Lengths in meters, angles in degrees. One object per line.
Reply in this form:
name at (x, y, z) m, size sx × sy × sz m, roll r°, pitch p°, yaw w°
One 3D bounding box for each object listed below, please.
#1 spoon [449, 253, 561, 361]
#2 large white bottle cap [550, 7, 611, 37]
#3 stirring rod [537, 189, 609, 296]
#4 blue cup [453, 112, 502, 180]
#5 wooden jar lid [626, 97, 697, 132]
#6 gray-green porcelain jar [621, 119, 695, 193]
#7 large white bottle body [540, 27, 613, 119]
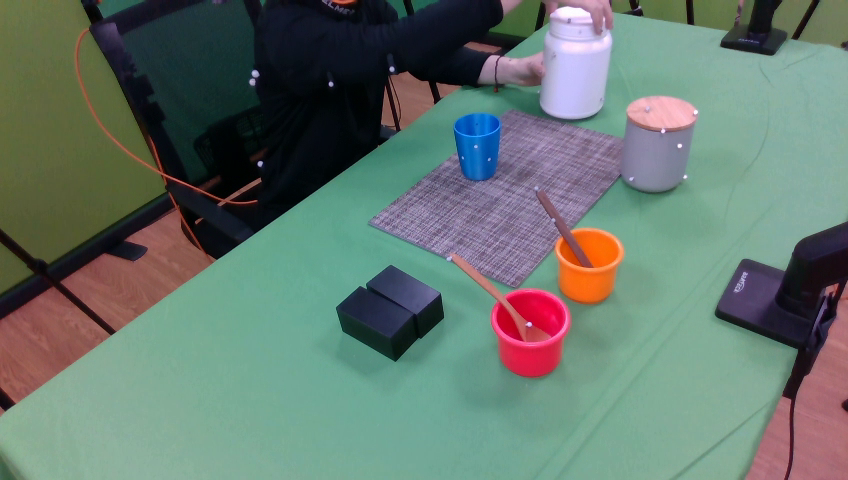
spoon at (0.103, 0.083, 0.770) m, size 0.194 × 0.021 × 0.042 m, roll 47°, pitch 53°, yaw -7°
large white bottle cap at (0.297, -0.415, 1.149) m, size 0.115 × 0.018 × 0.114 m, roll -2°, pitch 40°, yaw 2°
stirring rod at (0.210, 0.003, 0.855) m, size 0.014 × 0.006 × 0.176 m, roll -32°, pitch 88°, yaw -30°
blue cup at (0.097, -0.166, 1.088) m, size 0.092 × 0.100 × 0.092 m, roll -3°, pitch 41°, yaw 3°
wooden jar lid at (0.382, -0.198, 0.976) m, size 0.108 × 0.021 × 0.108 m, roll -3°, pitch 40°, yaw 3°
gray-green porcelain jar at (0.389, -0.152, 1.016) m, size 0.106 × 0.127 × 0.105 m, roll -4°, pitch 40°, yaw 4°
large white bottle body at (0.303, -0.350, 1.204) m, size 0.130 × 0.185 × 0.130 m, roll -2°, pitch 41°, yaw 2°
